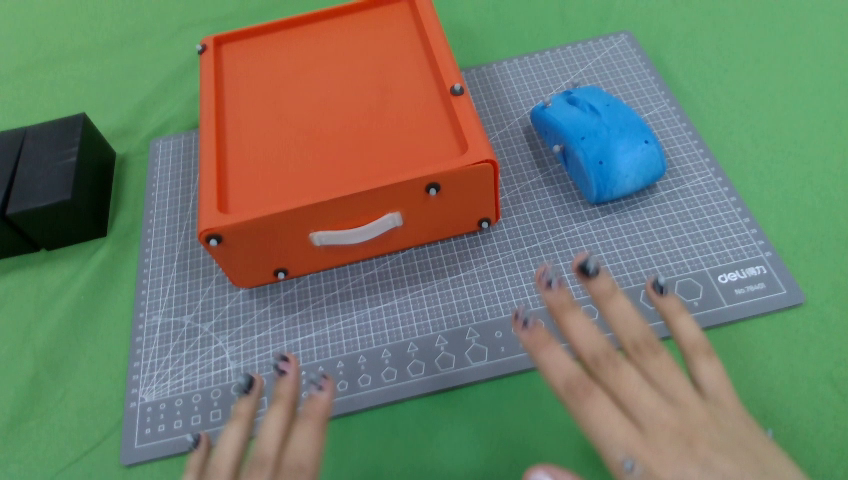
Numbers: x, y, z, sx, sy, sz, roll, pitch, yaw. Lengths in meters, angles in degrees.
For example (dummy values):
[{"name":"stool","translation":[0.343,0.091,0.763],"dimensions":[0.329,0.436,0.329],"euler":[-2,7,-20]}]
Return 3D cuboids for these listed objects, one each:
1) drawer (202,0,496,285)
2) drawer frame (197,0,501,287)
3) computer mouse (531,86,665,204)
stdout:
[{"name":"drawer","translation":[-0.065,-0.085,0.473],"dimensions":[0.194,0.074,0.209],"euler":[-14,54,-1]},{"name":"drawer frame","translation":[-0.065,-0.088,0.473],"dimensions":[0.202,0.083,0.211],"euler":[-15,54,-1]},{"name":"computer mouse","translation":[0.131,-0.081,0.467],"dimensions":[0.063,0.041,0.116],"euler":[-21,51,-4]}]
